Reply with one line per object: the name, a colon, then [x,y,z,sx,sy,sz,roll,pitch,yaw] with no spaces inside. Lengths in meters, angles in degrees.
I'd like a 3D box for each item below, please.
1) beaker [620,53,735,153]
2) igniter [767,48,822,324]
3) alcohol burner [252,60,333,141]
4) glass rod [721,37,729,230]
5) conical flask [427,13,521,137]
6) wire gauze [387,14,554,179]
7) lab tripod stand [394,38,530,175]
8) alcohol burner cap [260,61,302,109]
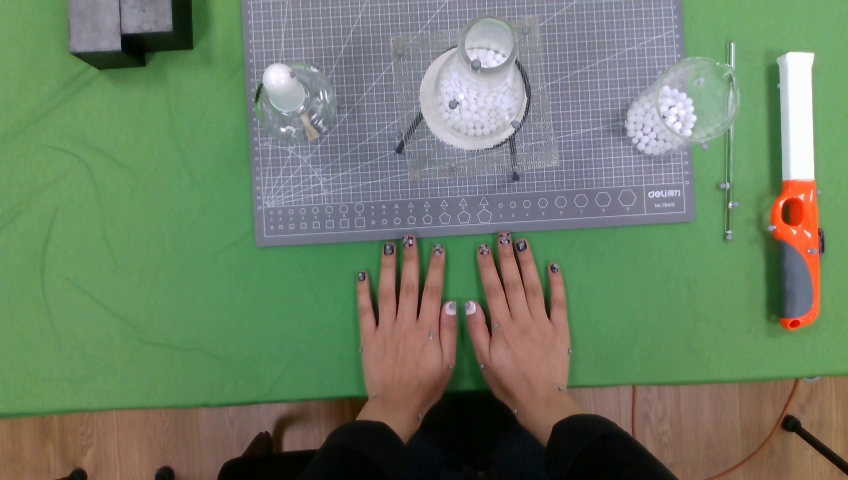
beaker: [0.236,-0.126,0.573,0.084,0.100,0.074,-41,89,-1]
igniter: [0.373,-0.054,0.611,0.057,0.025,0.276,-1,90,-10]
alcohol burner: [-0.126,-0.135,0.566,0.078,0.119,0.078,0,87,0]
glass rod: [0.310,-0.110,0.622,0.008,0.008,0.199,1,89,0]
conical flask: [0.039,-0.121,0.432,0.075,0.122,0.075,0,89,1]
wire gauze: [0.038,-0.115,0.491,0.125,0.011,0.121,-7,92,-2]
lab tripod stand: [0.038,-0.116,0.556,0.148,0.131,0.148,0,91,1]
alcohol burner cap: [-0.127,-0.138,0.531,0.034,0.048,0.033,0,81,-2]
